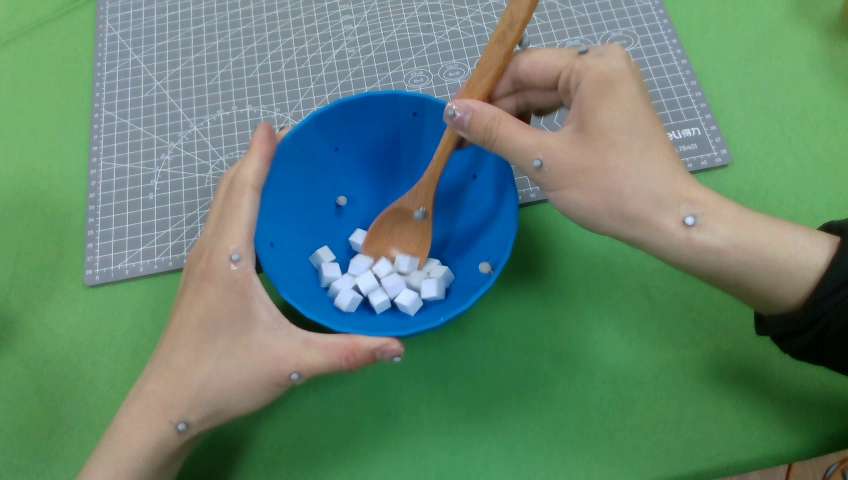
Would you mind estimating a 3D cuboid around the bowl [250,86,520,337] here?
[{"bbox_3d":[-0.020,-0.008,0.371,0.151,0.077,0.150,-1,71,3],"label":"bowl"}]

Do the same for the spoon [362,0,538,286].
[{"bbox_3d":[0.013,-0.049,0.331,0.041,0.194,0.021,35,34,10],"label":"spoon"}]
